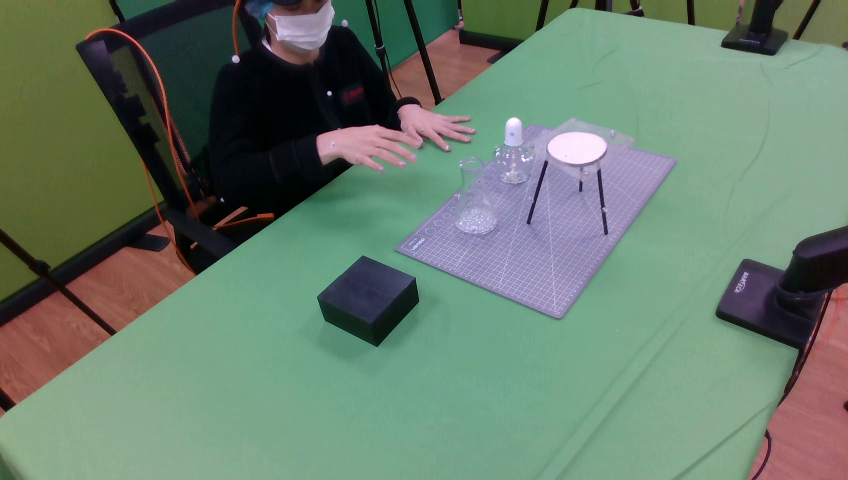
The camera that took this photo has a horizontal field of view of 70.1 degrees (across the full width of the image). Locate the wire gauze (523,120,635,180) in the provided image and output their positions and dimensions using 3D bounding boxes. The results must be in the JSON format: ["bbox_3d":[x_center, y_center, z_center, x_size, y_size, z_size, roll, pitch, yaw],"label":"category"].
[{"bbox_3d":[0.233,-0.143,0.913,0.122,0.011,0.124,-32,45,-25],"label":"wire gauze"}]

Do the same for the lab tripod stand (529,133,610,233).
[{"bbox_3d":[0.236,-0.089,0.953,0.148,0.132,0.147,-5,42,5],"label":"lab tripod stand"}]

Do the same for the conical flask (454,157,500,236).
[{"bbox_3d":[0.081,-0.072,0.966,0.075,0.122,0.075,-5,40,4],"label":"conical flask"}]

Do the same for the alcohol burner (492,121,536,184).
[{"bbox_3d":[0.159,-0.158,1.064,0.078,0.119,0.077,-3,41,3],"label":"alcohol burner"}]

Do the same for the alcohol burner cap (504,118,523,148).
[{"bbox_3d":[0.154,-0.186,1.042,0.034,0.048,0.033,-4,33,3],"label":"alcohol burner cap"}]
